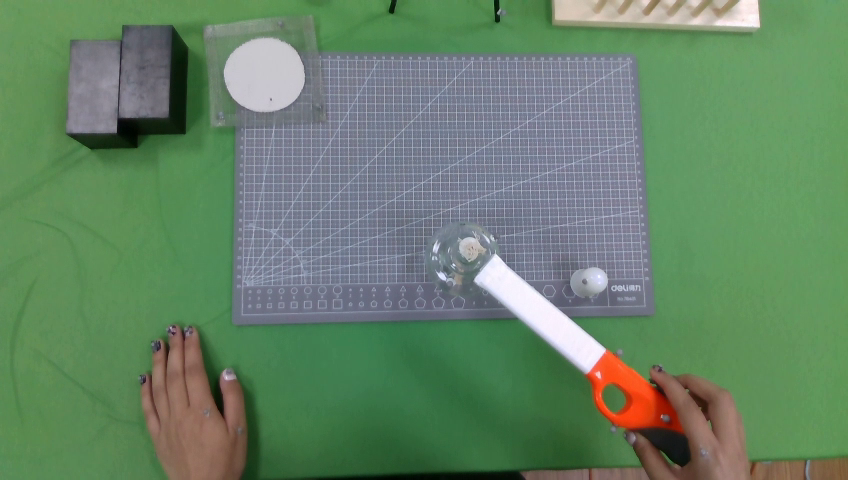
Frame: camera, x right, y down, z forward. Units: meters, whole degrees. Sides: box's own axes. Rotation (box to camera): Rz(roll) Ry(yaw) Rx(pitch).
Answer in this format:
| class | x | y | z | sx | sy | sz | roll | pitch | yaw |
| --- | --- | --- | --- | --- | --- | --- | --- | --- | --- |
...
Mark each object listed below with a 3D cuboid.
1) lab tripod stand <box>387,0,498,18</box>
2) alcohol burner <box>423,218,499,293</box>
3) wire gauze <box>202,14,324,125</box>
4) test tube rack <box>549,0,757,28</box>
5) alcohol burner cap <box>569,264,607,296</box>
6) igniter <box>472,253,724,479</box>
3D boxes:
| class | x | y | z | sx | sy | sz | roll | pitch | yaw |
| --- | --- | --- | --- | --- | --- | --- | --- | --- | --- |
| lab tripod stand | 0.024 | -0.307 | 0.633 | 0.148 | 0.132 | 0.148 | 0 | 81 | -2 |
| alcohol burner | 0.039 | 0.013 | 0.599 | 0.078 | 0.119 | 0.077 | 1 | 80 | -4 |
| wire gauze | -0.178 | -0.187 | 0.663 | 0.125 | 0.011 | 0.121 | -6 | 82 | -4 |
| test tube rack | 0.268 | -0.289 | 0.671 | 0.242 | 0.085 | 0.066 | 0 | 82 | -3 |
| alcohol burner cap | 0.175 | 0.041 | 0.640 | 0.034 | 0.048 | 0.033 | 0 | 81 | -2 |
| igniter | 0.155 | 0.113 | 0.532 | 0.276 | 0.025 | 0.057 | 41 | 83 | 1 |
